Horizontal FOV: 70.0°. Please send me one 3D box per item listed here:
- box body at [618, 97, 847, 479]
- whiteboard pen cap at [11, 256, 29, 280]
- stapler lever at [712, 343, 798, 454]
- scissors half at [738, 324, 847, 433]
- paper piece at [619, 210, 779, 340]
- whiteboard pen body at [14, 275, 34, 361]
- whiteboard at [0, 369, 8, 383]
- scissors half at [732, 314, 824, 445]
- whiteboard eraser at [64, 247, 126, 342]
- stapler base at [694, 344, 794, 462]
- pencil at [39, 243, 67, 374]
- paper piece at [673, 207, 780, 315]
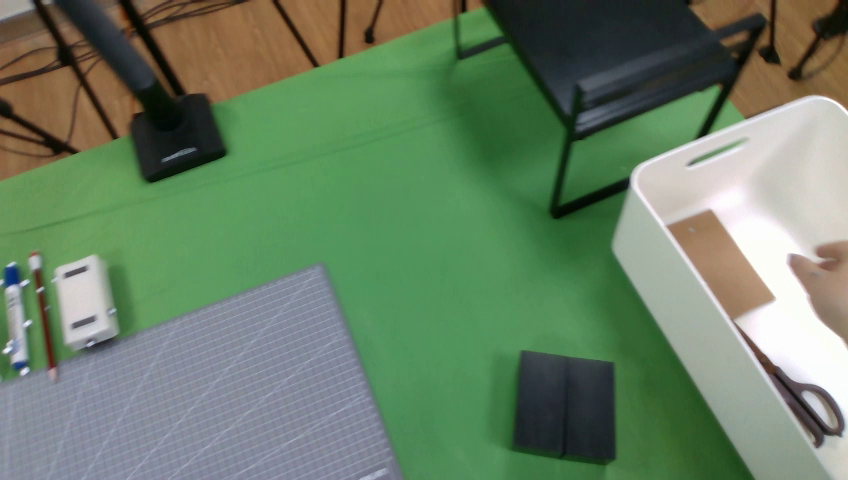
[{"bbox_3d":[0.403,0.062,0.638,0.254,0.161,0.360,-21,64,-7],"label":"box body"},{"bbox_3d":[-0.523,0.038,0.785,0.018,0.018,0.033,-22,63,-7],"label":"whiteboard pen cap"},{"bbox_3d":[0.348,0.163,0.636,0.027,0.040,0.117,-27,67,-4],"label":"stapler lever"},{"bbox_3d":[0.398,0.140,0.679,0.040,0.013,0.173,-28,61,-25],"label":"scissors half"},{"bbox_3d":[0.335,0.041,0.753,0.136,0.009,0.136,-28,55,11],"label":"paper piece"},{"bbox_3d":[-0.504,0.087,0.761,0.017,0.017,0.139,-20,64,-6],"label":"whiteboard pen body"},{"bbox_3d":[-0.648,0.057,0.657,0.217,0.308,0.142,-21,45,-6],"label":"whiteboard"},{"bbox_3d":[0.379,0.146,0.673,0.040,0.013,0.173,-12,56,-9],"label":"scissors half"},{"bbox_3d":[-0.407,0.067,0.752,0.055,0.042,0.111,-22,65,-6],"label":"whiteboard eraser"},{"bbox_3d":[0.349,0.172,0.660,0.041,0.024,0.129,-27,67,-5],"label":"stapler base"},{"bbox_3d":[-0.468,0.083,0.764,0.012,0.012,0.192,-23,65,-8],"label":"pencil"},{"bbox_3d":[0.332,0.034,0.733,0.135,0.004,0.134,-20,62,-5],"label":"paper piece"}]
